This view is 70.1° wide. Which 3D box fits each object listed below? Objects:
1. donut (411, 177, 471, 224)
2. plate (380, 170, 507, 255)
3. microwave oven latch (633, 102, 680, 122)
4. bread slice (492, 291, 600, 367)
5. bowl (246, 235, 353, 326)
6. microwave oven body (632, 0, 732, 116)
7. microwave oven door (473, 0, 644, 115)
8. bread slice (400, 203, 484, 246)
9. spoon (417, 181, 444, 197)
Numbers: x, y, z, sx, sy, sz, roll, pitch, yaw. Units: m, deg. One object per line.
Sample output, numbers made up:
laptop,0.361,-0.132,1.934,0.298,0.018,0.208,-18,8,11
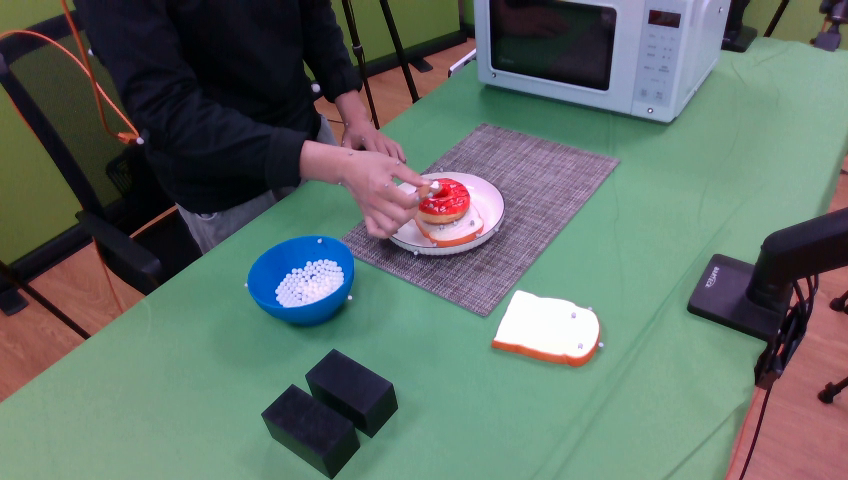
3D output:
donut,0.028,-0.064,0.978,0.099,0.048,0.098,-3,40,3
plate,0.033,-0.042,0.995,0.207,0.039,0.206,-4,40,4
microwave oven latch,0.444,-0.249,1.157,0.078,0.029,0.030,21,49,30
bread slice,0.169,0.118,0.811,0.131,0.019,0.105,11,44,21
bowl,-0.170,0.070,0.868,0.151,0.077,0.150,-4,41,4
microwave oven body,0.377,-0.462,1.267,0.438,0.261,0.327,21,48,30
microwave oven door,0.257,-0.396,1.199,0.353,0.245,0.039,21,48,29
bread slice,0.037,-0.036,0.991,0.107,0.018,0.133,-22,41,-17
spoon,0.004,-0.073,0.851,0.041,0.021,0.194,2,5,4
